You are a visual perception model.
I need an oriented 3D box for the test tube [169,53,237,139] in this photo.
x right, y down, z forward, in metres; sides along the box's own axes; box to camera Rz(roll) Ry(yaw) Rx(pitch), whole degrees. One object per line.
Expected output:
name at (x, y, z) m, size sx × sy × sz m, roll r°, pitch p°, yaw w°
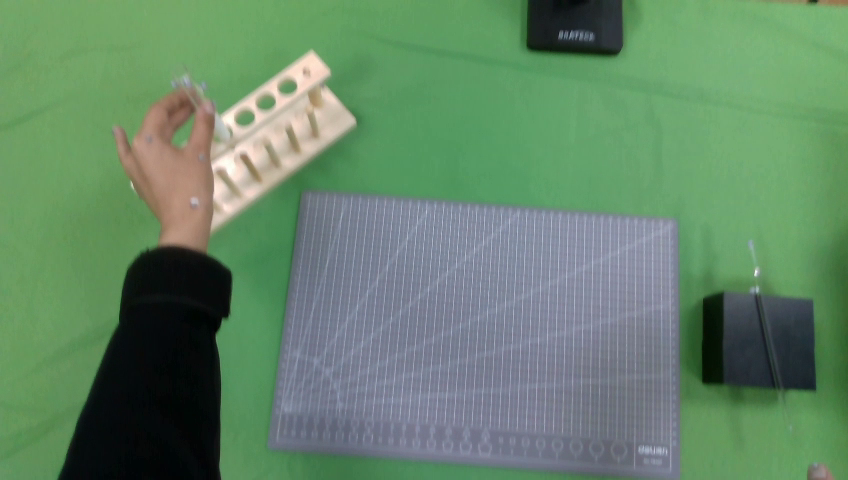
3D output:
test tube at (-0.214, -0.137, 0.599) m, size 0.017 × 0.151 × 0.017 m, roll 0°, pitch 74°, yaw 1°

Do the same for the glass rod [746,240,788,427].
glass rod at (0.366, 0.097, 0.648) m, size 0.008 × 0.008 × 0.199 m, roll -4°, pitch 79°, yaw -2°

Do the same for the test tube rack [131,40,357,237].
test tube rack at (-0.195, -0.112, 0.686) m, size 0.242 × 0.085 × 0.066 m, roll -39°, pitch 80°, yaw -9°
